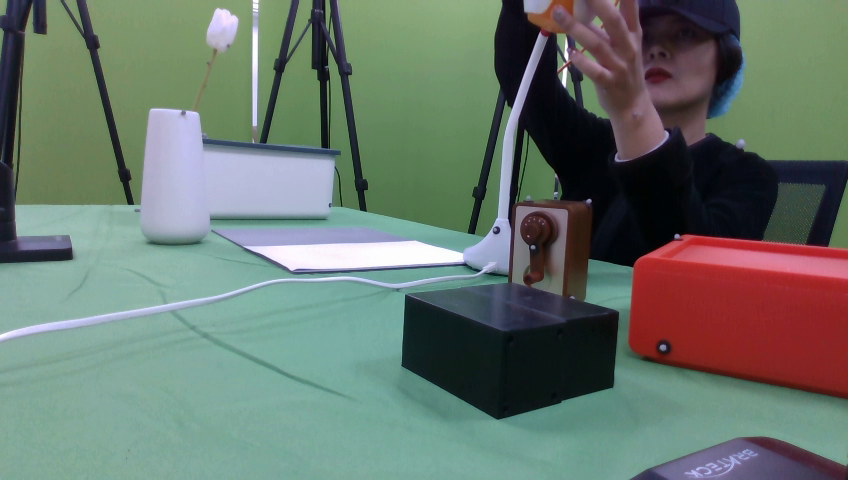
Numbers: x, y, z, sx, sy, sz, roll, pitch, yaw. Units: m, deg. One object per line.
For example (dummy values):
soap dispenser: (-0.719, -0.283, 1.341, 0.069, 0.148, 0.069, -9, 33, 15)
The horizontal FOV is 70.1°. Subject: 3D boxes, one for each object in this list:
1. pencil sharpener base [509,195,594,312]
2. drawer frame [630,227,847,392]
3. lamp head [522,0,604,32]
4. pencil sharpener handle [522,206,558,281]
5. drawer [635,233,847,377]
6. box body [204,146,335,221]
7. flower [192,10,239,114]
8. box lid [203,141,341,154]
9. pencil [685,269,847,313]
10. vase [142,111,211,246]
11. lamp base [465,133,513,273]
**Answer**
pencil sharpener base: (0.126, 0.011, 0.601, 0.061, 0.107, 0.077, 6, 9, 30)
drawer frame: (0.292, 0.043, 0.484, 0.201, 0.082, 0.214, 7, 9, 29)
lamp head: (0.149, -0.282, 0.630, 0.112, 0.123, 0.112, 14, 18, -4)
pencil sharpener handle: (0.102, 0.003, 0.555, 0.036, 0.067, 0.031, 0, 5, 31)
drawer: (0.292, 0.044, 0.488, 0.193, 0.073, 0.213, 7, 9, 30)
box body: (-0.411, -0.135, 1.386, 0.366, 0.160, 0.253, -2, 9, -29)
flower: (-0.354, -0.174, 0.915, 0.038, 0.361, 0.044, 18, -3, 12)
box lid: (-0.396, -0.212, 1.373, 0.373, 0.015, 0.262, -1, 9, -29)
pencil: (0.308, 0.045, 0.516, 0.194, 0.012, 0.012, 13, 5, -11)
vase: (-0.378, -0.093, 0.920, 0.098, 0.200, 0.098, 2, 9, 0)
lamp base: (0.133, -0.052, 0.808, 0.160, 0.180, 0.180, 7, 12, 27)
